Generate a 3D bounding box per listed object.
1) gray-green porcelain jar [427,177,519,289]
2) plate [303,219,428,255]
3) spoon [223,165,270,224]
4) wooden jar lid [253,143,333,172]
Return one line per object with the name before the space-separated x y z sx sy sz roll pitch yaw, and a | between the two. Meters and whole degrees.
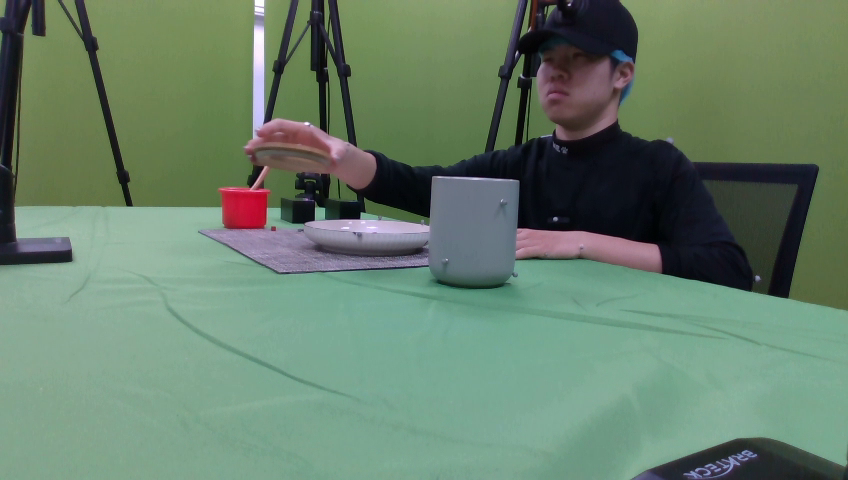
gray-green porcelain jar | 0.057 -0.010 0.722 0.106 0.126 0.106 2 7 0
plate | -0.085 -0.005 0.952 0.208 0.039 0.207 3 7 0
spoon | -0.345 -0.106 1.214 0.041 0.022 0.194 2 45 26
wooden jar lid | -0.181 -0.112 0.836 0.108 0.020 0.108 4 -6 1
